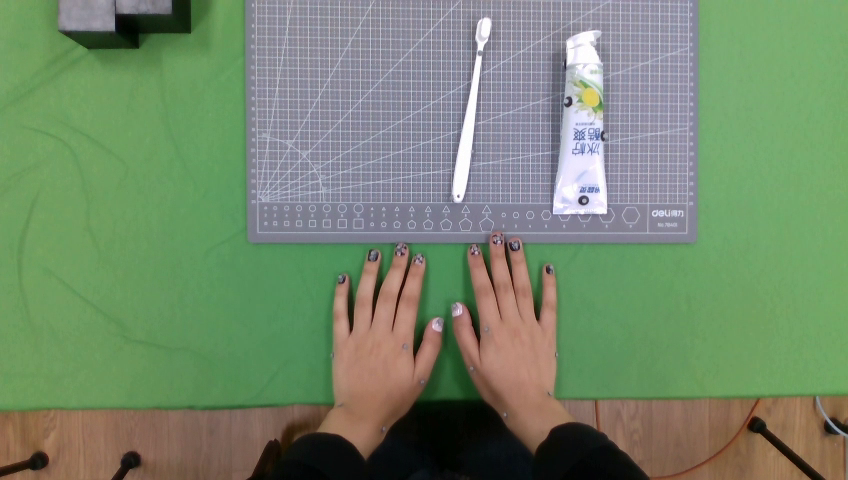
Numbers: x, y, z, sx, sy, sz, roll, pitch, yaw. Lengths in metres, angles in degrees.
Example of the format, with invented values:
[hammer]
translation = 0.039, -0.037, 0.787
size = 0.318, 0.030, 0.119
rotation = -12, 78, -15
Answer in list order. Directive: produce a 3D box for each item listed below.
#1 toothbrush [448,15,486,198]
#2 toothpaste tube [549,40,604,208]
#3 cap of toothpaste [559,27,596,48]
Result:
[toothbrush]
translation = 0.043, -0.131, 0.596
size = 0.014, 0.016, 0.182
rotation = 8, 92, -18
[toothpaste tube]
translation = 0.150, -0.114, 0.598
size = 0.055, 0.034, 0.165
rotation = -1, 95, 4
[cap of toothpaste]
translation = 0.150, -0.196, 0.590
size = 0.037, 0.037, 0.011
rotation = -13, 88, -3
